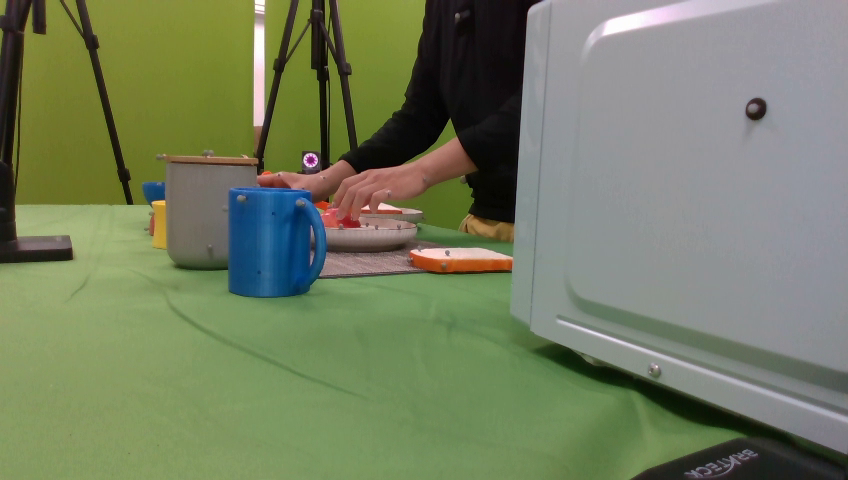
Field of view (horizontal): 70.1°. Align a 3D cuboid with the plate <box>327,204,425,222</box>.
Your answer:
[{"bbox_3d":[-0.102,-0.053,1.299,0.209,0.038,0.209,2,7,0],"label":"plate"}]

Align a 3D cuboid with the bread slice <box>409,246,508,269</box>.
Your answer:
[{"bbox_3d":[0.048,0.022,0.816,0.132,0.019,0.104,0,7,-24],"label":"bread slice"}]

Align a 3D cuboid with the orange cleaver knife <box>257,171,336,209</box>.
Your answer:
[{"bbox_3d":[-0.283,-0.087,1.343,0.212,0.077,0.012,24,-16,-41],"label":"orange cleaver knife"}]

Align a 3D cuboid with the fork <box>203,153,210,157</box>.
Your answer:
[{"bbox_3d":[-0.480,-0.135,1.411,0.028,0.018,0.207,1,-34,-1],"label":"fork"}]

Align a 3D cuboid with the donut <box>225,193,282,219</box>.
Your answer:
[{"bbox_3d":[-0.305,-0.060,1.086,0.099,0.048,0.099,0,7,0],"label":"donut"}]

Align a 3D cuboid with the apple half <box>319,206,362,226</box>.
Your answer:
[{"bbox_3d":[-0.142,-0.041,1.002,0.081,0.033,0.081,0,7,0],"label":"apple half"}]

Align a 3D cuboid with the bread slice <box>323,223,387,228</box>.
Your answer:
[{"bbox_3d":[-0.115,-0.015,0.974,0.135,0.018,0.106,-4,10,-42],"label":"bread slice"}]

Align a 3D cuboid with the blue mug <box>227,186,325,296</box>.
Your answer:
[{"bbox_3d":[-0.146,0.000,0.618,0.116,0.106,0.083,7,9,32],"label":"blue mug"}]

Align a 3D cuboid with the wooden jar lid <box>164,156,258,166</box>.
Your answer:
[{"bbox_3d":[-0.261,-0.093,0.746,0.108,0.020,0.108,1,9,0],"label":"wooden jar lid"}]

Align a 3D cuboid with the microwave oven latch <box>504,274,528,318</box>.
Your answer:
[{"bbox_3d":[0.100,0.041,0.470,0.079,0.029,0.030,-1,7,-27],"label":"microwave oven latch"}]

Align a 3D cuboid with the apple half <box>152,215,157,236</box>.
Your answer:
[{"bbox_3d":[-0.415,-0.034,1.017,0.081,0.053,0.074,1,10,-9],"label":"apple half"}]

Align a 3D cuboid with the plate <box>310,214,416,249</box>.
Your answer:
[{"bbox_3d":[-0.116,-0.014,0.967,0.208,0.039,0.207,2,8,0],"label":"plate"}]

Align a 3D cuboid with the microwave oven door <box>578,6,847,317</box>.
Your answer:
[{"bbox_3d":[0.294,-0.067,0.570,0.358,0.243,0.039,-3,9,-31],"label":"microwave oven door"}]

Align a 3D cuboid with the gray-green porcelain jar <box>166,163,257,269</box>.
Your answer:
[{"bbox_3d":[-0.263,-0.031,0.754,0.106,0.126,0.106,2,7,0],"label":"gray-green porcelain jar"}]

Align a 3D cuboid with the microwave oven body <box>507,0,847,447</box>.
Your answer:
[{"bbox_3d":[0.331,-0.042,0.425,0.444,0.260,0.324,-2,8,-31],"label":"microwave oven body"}]

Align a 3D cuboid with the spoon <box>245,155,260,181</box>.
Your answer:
[{"bbox_3d":[-0.421,-0.150,1.540,0.042,0.021,0.193,-5,55,-37],"label":"spoon"}]

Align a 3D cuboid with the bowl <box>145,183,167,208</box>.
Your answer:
[{"bbox_3d":[-0.459,-0.069,1.175,0.151,0.077,0.151,3,7,0],"label":"bowl"}]

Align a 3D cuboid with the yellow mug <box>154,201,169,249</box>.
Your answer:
[{"bbox_3d":[-0.337,-0.022,0.899,0.130,0.064,0.100,8,9,34],"label":"yellow mug"}]
